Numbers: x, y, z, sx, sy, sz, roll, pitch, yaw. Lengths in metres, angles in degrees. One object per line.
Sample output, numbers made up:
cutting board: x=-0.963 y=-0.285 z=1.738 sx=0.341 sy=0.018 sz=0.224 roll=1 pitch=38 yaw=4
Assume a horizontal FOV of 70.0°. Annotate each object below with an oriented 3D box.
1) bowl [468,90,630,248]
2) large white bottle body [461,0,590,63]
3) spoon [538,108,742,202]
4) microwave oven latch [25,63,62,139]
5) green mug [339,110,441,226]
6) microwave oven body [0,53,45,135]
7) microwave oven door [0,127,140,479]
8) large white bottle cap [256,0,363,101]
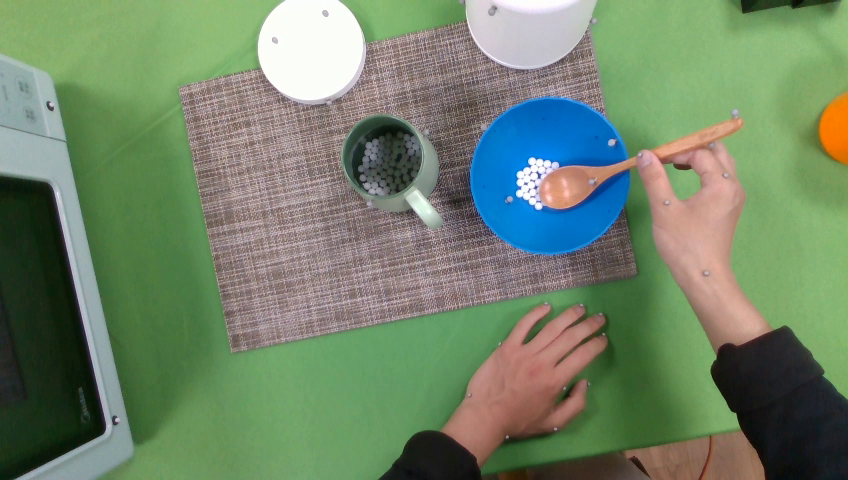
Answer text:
bowl: x=0.120 y=-0.067 z=0.607 sx=0.151 sy=0.077 sz=0.151 roll=0 pitch=91 yaw=5
large white bottle body: x=0.095 y=-0.254 z=0.551 sx=0.130 sy=0.185 sz=0.130 roll=0 pitch=87 yaw=6
spoon: x=0.191 y=-0.077 z=0.559 sx=0.193 sy=0.022 sz=0.041 roll=-19 pitch=89 yaw=42
microwave oven latch: x=-0.419 y=-0.147 z=0.654 sx=0.030 sy=0.029 sz=0.079 roll=-13 pitch=91 yaw=4
green mug: x=-0.025 y=-0.067 z=0.605 sx=0.092 sy=0.105 sz=0.125 roll=-38 pitch=88 yaw=3
microwave oven body: x=-0.531 y=0.059 z=0.570 sx=0.326 sy=0.260 sz=0.441 roll=-13 pitch=91 yaw=4
microwave oven door: x=-0.380 y=0.067 z=0.554 sx=0.039 sy=0.244 sz=0.355 roll=-14 pitch=90 yaw=5
large white bottle cap: x=-0.123 y=-0.209 z=0.653 sx=0.115 sy=0.018 sz=0.114 roll=0 pitch=90 yaw=4
